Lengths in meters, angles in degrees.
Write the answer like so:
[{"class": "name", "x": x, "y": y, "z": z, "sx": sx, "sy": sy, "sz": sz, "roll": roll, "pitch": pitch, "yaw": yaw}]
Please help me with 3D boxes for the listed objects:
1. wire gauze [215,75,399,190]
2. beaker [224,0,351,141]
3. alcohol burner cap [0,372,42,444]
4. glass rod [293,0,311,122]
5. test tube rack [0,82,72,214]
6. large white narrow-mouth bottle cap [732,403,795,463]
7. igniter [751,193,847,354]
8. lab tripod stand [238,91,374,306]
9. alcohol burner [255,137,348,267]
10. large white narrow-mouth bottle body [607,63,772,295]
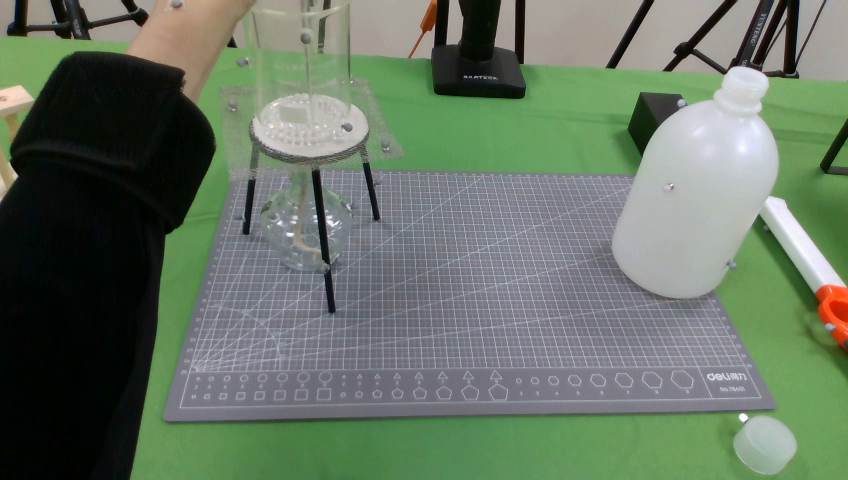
[{"class": "wire gauze", "x": -0.092, "y": -0.090, "z": 0.457, "sx": 0.122, "sy": 0.011, "sz": 0.123, "roll": -10, "pitch": 49, "yaw": -15}, {"class": "beaker", "x": -0.093, "y": -0.128, "z": 0.425, "sx": 0.084, "sy": 0.101, "sz": 0.073, "roll": -4, "pitch": 45, "yaw": -11}, {"class": "alcohol burner cap", "x": -0.273, "y": 0.106, "z": 0.392, "sx": 0.034, "sy": 0.048, "sz": 0.033, "roll": 5, "pitch": 43, "yaw": -4}, {"class": "glass rod", "x": -0.083, "y": -0.171, "z": 0.385, "sx": 0.008, "sy": 0.201, "sz": 0.008, "roll": 1, "pitch": 32, "yaw": -1}, {"class": "test tube rack", "x": -0.444, "y": -0.046, "z": 0.504, "sx": 0.242, "sy": 0.086, "sz": 0.066, "roll": -31, "pitch": 54, "yaw": -34}, {"class": "large white narrow-mouth bottle cap", "x": 0.243, "y": 0.139, "z": 0.434, "sx": 0.038, "sy": 0.024, "sz": 0.037, "roll": 3, "pitch": 43, "yaw": -2}, {"class": "igniter", "x": 0.361, "y": 0.050, "z": 0.539, "sx": 0.057, "sy": 0.025, "sz": 0.273, "roll": 10, "pitch": 41, "yaw": -12}, {"class": "lab tripod stand", "x": -0.093, "y": -0.040, "z": 0.500, "sx": 0.148, "sy": 0.132, "sz": 0.147, "roll": 5, "pitch": 43, "yaw": -4}, {"class": "alcohol burner", "x": -0.103, "y": -0.035, "z": 0.507, "sx": 0.078, "sy": 0.120, "sz": 0.077, "roll": 5, "pitch": 41, "yaw": -4}, {"class": "large white narrow-mouth bottle body", "x": 0.225, "y": -0.051, "z": 0.504, "sx": 0.102, "sy": 0.196, "sz": 0.101, "roll": 3, "pitch": 43, "yaw": -2}]
